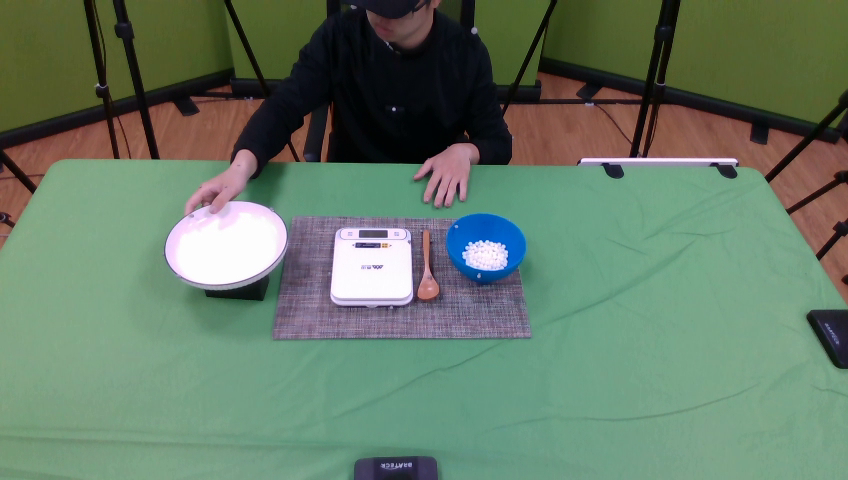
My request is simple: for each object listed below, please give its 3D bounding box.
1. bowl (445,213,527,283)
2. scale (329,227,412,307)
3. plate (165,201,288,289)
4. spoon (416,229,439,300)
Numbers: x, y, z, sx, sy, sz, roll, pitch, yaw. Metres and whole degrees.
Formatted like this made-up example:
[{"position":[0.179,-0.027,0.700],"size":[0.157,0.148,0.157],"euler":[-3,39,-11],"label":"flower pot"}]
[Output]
[{"position":[0.112,0.027,1.136],"size":[0.151,0.077,0.150],"euler":[2,46,-2],"label":"bowl"},{"position":[-0.099,0.042,1.139],"size":[0.149,0.032,0.199],"euler":[1,46,-4],"label":"scale"},{"position":[-0.347,0.011,1.082],"size":[0.209,0.038,0.208],"euler":[2,46,-2],"label":"plate"},{"position":[0.005,0.043,1.152],"size":[0.041,0.022,0.192],"euler":[-9,46,8],"label":"spoon"}]
